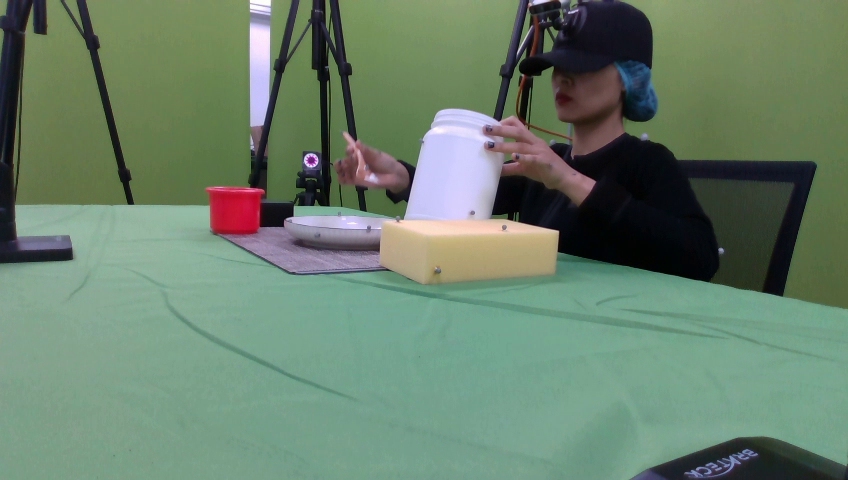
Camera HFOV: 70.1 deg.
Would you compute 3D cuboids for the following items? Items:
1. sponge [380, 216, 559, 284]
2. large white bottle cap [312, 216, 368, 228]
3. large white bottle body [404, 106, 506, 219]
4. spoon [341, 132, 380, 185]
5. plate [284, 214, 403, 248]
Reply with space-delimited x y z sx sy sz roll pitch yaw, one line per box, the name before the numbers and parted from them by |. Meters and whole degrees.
sponge | 0.059 0.008 0.786 0.208 0.061 0.117 -3 11 -32
large white bottle cap | -0.171 -0.038 1.234 0.115 0.018 0.115 2 5 0
large white bottle body | 0.051 -0.097 0.921 0.130 0.184 0.130 13 -6 2
spoon | -0.117 -0.146 1.061 0.042 0.021 0.193 12 32 -31
plate | -0.122 -0.015 0.984 0.209 0.038 0.209 2 7 0
